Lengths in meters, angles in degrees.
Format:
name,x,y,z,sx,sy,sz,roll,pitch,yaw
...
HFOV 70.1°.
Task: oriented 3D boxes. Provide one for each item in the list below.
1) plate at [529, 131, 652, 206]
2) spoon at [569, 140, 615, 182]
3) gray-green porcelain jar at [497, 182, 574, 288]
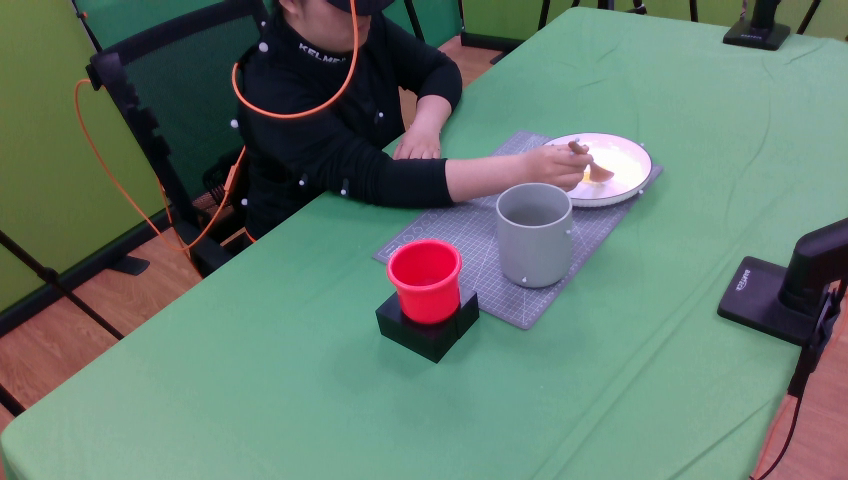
name,x,y,z,sx,sy,sz,roll,pitch,yaw
plate,0.287,-0.121,1.056,0.207,0.039,0.206,-5,40,5
spoon,0.260,-0.124,0.951,0.041,0.195,0.021,-13,69,29
gray-green porcelain jar,0.161,-0.003,0.870,0.106,0.127,0.105,-5,40,5
